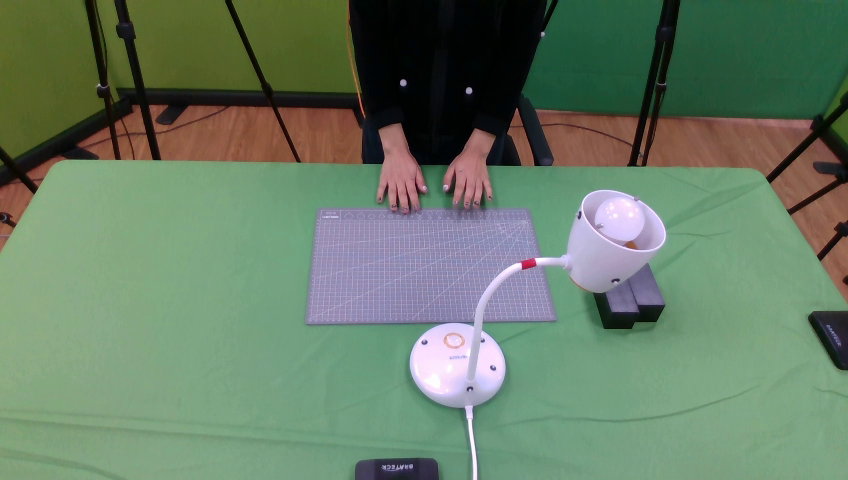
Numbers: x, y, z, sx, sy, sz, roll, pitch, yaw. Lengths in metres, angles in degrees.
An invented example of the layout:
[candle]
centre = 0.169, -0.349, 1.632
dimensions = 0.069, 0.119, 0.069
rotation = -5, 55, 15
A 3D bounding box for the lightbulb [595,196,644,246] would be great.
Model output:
[lightbulb]
centre = 0.244, -0.008, 0.784
dimensions = 0.059, 0.108, 0.059
rotation = 8, 40, -7

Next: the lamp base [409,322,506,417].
[lamp base]
centre = 0.063, 0.160, 0.941
dimensions = 0.161, 0.181, 0.178
rotation = -10, 51, -13

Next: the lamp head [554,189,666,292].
[lamp head]
centre = 0.234, 0.012, 0.796
dimensions = 0.113, 0.123, 0.111
rotation = 13, 43, -13
